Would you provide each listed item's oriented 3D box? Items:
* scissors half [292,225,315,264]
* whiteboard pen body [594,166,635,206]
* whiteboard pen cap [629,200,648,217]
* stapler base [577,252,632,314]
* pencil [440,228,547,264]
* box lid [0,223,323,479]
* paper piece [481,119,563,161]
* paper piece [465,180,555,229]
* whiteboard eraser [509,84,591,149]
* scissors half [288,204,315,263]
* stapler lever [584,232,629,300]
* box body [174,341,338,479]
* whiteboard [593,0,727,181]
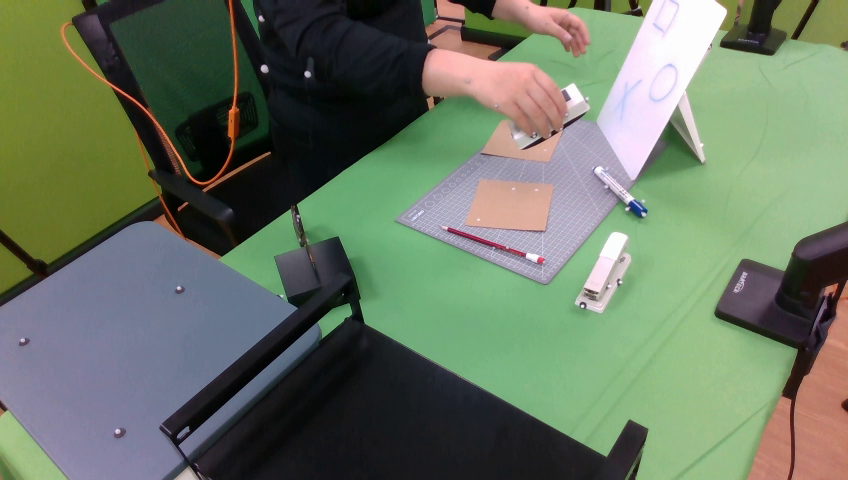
[{"bbox_3d":[-0.188,0.007,0.954,0.013,0.040,0.174,-21,21,-13],"label":"scissors half"},{"bbox_3d":[0.331,-0.086,1.027,0.017,0.017,0.139,-17,41,-10],"label":"whiteboard pen body"},{"bbox_3d":[0.348,-0.052,0.984,0.018,0.018,0.033,-18,41,-12],"label":"whiteboard pen cap"},{"bbox_3d":[0.264,0.051,0.875,0.041,0.024,0.131,16,47,30],"label":"stapler base"},{"bbox_3d":[0.105,0.006,0.957,0.192,0.012,0.012,18,46,30],"label":"pencil"},{"bbox_3d":[-0.318,0.109,0.671,0.368,0.015,0.264,24,49,31],"label":"box lid"},{"bbox_3d":[0.197,-0.199,1.188,0.135,0.004,0.135,11,44,21],"label":"paper piece"},{"bbox_3d":[0.149,-0.062,1.035,0.137,0.009,0.136,5,37,16],"label":"paper piece"},{"bbox_3d":[0.183,-0.177,0.879,0.112,0.042,0.055,-31,34,16],"label":"whiteboard eraser"},{"bbox_3d":[-0.190,-0.010,0.944,0.013,0.040,0.173,-16,37,-16],"label":"scissors half"},{"bbox_3d":[0.261,0.034,0.858,0.026,0.040,0.118,16,46,30],"label":"stapler lever"},{"bbox_3d":[-0.311,0.165,0.719,0.361,0.161,0.255,23,49,32],"label":"box body"},{"bbox_3d":[0.453,-0.272,1.056,0.144,0.305,0.216,9,38,-12],"label":"whiteboard"}]
